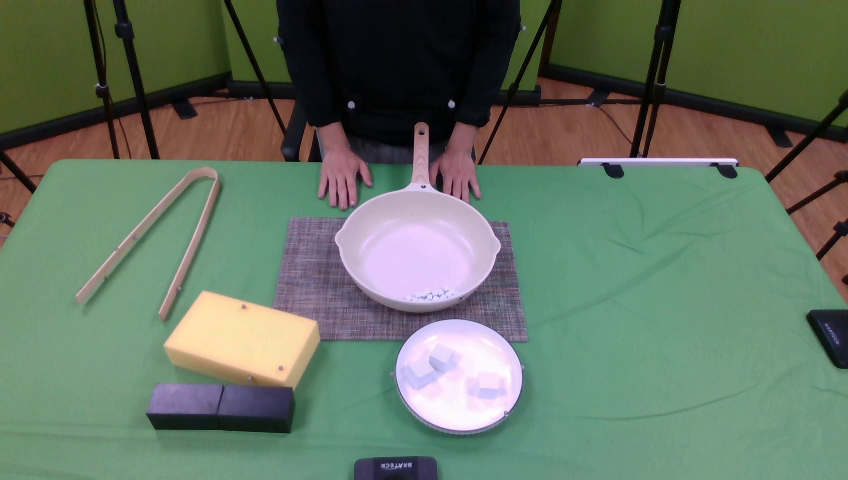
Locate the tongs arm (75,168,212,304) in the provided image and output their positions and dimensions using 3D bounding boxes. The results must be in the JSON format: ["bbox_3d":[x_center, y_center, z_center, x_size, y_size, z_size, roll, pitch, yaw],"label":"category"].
[{"bbox_3d":[-0.525,-0.021,1.167,0.051,0.026,0.383,13,45,7],"label":"tongs arm"}]

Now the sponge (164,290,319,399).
[{"bbox_3d":[-0.292,0.167,0.986,0.206,0.061,0.117,14,50,9],"label":"sponge"}]

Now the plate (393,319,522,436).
[{"bbox_3d":[0.053,0.222,0.979,0.208,0.039,0.206,3,46,-2],"label":"plate"}]

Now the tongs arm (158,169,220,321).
[{"bbox_3d":[-0.446,-0.005,1.164,0.028,0.028,0.385,1,46,0],"label":"tongs arm"}]

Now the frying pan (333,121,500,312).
[{"bbox_3d":[-0.011,-0.063,1.195,0.307,0.103,0.485,4,55,-2],"label":"frying pan"}]
